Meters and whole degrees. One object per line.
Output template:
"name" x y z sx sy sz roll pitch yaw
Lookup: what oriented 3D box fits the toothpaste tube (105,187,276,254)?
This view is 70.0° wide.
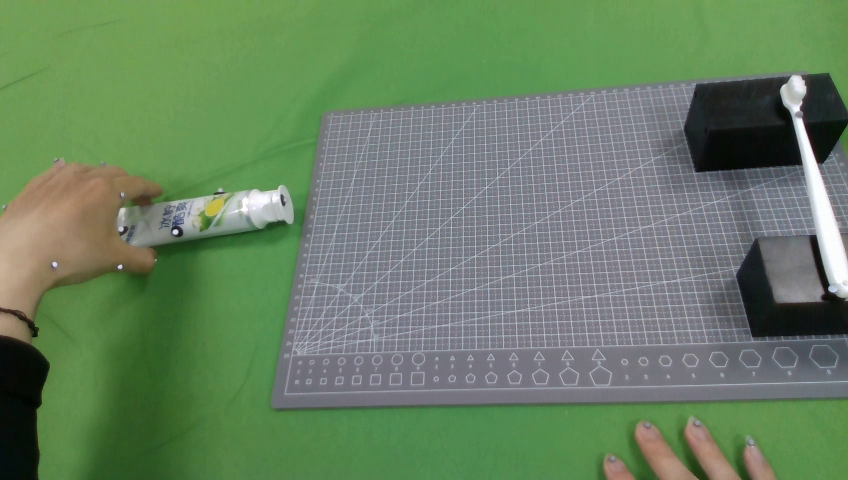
"toothpaste tube" -0.202 -0.023 0.536 0.165 0.035 0.054 -8 50 9

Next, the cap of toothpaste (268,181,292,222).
"cap of toothpaste" -0.124 -0.032 0.521 0.011 0.038 0.037 -11 56 4

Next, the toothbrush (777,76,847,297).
"toothbrush" 0.266 -0.044 0.413 0.014 0.017 0.180 8 60 -1
